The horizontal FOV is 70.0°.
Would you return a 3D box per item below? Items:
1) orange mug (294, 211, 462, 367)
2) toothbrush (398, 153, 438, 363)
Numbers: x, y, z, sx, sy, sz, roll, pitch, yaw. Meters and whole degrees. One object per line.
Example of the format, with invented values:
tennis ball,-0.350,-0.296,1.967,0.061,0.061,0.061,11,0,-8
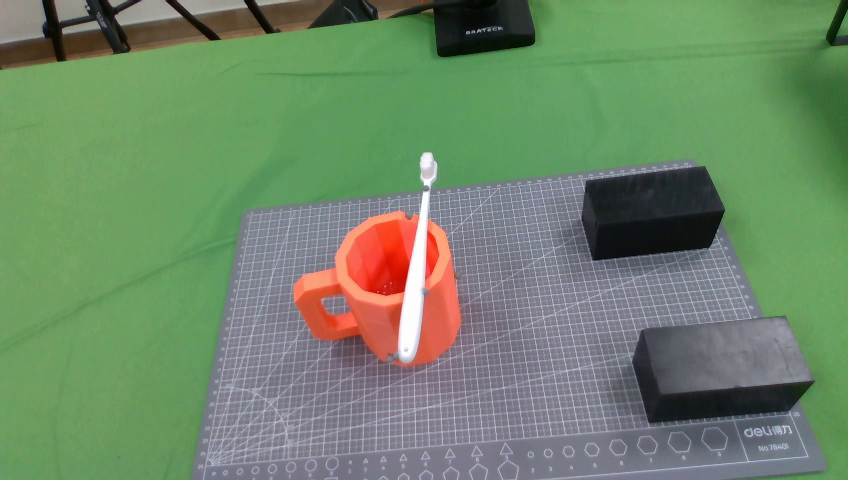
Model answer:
orange mug,-0.034,0.043,0.477,0.126,0.102,0.082,-10,52,-4
toothbrush,-0.003,0.004,0.436,0.014,0.017,0.180,2,53,6
